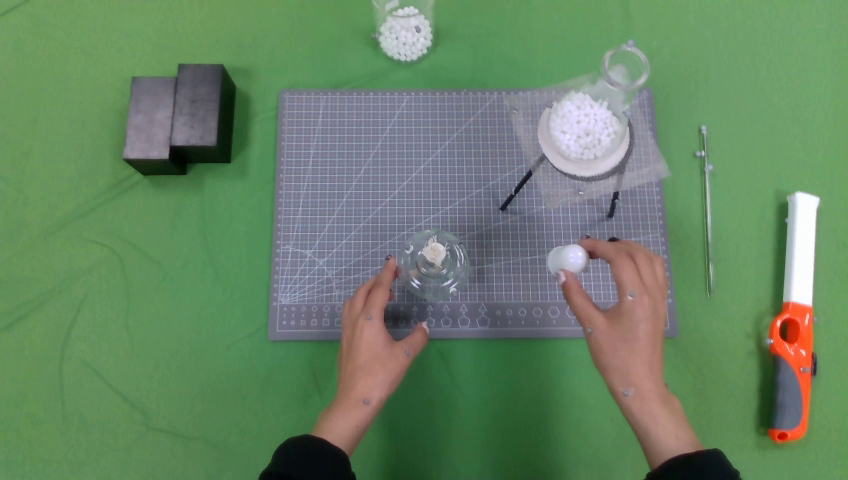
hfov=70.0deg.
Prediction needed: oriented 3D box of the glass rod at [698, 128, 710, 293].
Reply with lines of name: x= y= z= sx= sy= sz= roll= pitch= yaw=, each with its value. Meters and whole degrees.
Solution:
glass rod: x=0.324 y=-0.037 z=0.701 sx=0.008 sy=0.008 sz=0.198 roll=4 pitch=76 yaw=0

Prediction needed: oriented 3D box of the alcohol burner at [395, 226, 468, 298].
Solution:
alcohol burner: x=0.009 y=0.020 z=0.626 sx=0.078 sy=0.119 sz=0.077 roll=1 pitch=77 yaw=-2

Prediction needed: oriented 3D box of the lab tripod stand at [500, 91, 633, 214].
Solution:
lab tripod stand: x=0.153 y=-0.084 z=0.643 sx=0.148 sy=0.132 sz=0.147 roll=0 pitch=78 yaw=0

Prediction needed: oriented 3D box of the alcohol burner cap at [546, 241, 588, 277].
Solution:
alcohol burner cap: x=0.137 y=0.016 z=0.569 sx=0.034 sy=0.048 sz=0.034 roll=1 pitch=82 yaw=-7

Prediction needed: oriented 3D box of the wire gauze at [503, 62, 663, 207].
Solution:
wire gauze: x=0.152 y=-0.101 z=0.579 sx=0.125 sy=0.011 sz=0.121 roll=-16 pitch=80 yaw=-6

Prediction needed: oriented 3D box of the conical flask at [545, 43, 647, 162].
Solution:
conical flask: x=0.153 y=-0.121 z=0.523 sx=0.075 sy=0.122 sz=0.075 roll=0 pitch=78 yaw=-1

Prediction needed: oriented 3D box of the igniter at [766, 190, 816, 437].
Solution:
igniter: x=0.405 y=0.077 z=0.665 sx=0.057 sy=0.025 sz=0.275 roll=14 pitch=77 yaw=-8

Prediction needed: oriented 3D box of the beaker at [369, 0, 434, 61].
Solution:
beaker: x=-0.022 y=-0.263 z=0.704 sx=0.084 sy=0.100 sz=0.073 roll=-41 pitch=80 yaw=-10
